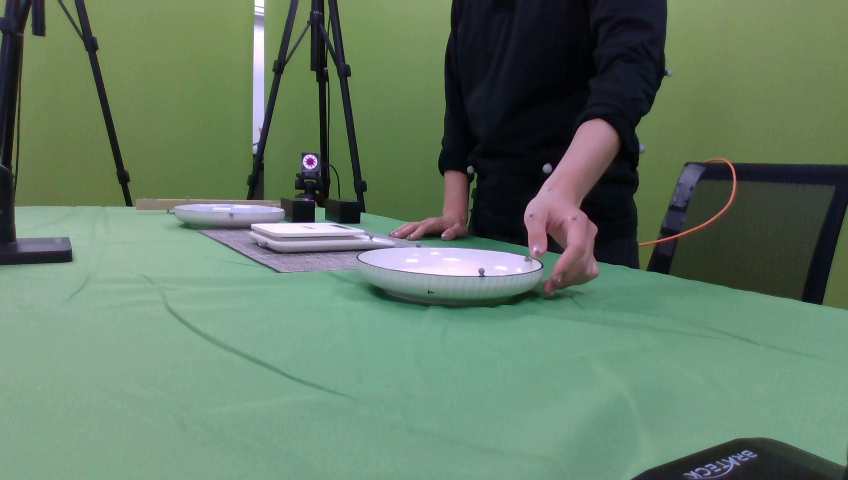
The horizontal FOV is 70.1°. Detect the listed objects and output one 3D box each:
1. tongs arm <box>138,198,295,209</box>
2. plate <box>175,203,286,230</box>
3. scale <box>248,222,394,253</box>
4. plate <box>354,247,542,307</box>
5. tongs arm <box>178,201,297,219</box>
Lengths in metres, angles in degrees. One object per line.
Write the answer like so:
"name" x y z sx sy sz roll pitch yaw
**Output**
"tongs arm" -0.489 -0.086 1.472 0.050 0.026 0.387 10 9 42
"plate" -0.381 -0.047 1.199 0.208 0.039 0.207 3 7 0
"scale" -0.162 -0.006 0.954 0.202 0.031 0.148 -1 9 -32
"plate" 0.025 0.039 0.672 0.209 0.038 0.209 3 7 0
"tongs arm" -0.418 -0.072 1.420 0.028 0.028 0.389 4 7 27
